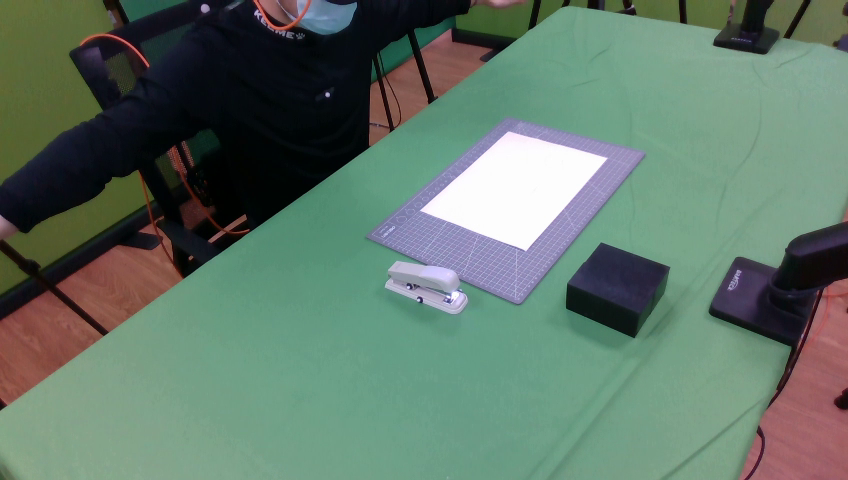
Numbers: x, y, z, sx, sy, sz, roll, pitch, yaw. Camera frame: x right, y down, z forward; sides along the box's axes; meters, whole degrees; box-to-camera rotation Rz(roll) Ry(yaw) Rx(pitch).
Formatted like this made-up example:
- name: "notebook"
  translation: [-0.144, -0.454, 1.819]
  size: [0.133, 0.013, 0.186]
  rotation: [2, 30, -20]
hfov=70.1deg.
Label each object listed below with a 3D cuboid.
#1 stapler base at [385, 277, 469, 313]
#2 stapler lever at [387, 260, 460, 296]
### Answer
- name: "stapler base"
  translation: [0.003, 0.069, 0.889]
  size: [0.129, 0.024, 0.041]
  rotation: [17, 43, 28]
- name: "stapler lever"
  translation: [-0.002, 0.050, 0.873]
  size: [0.117, 0.040, 0.027]
  rotation: [17, 44, 28]
